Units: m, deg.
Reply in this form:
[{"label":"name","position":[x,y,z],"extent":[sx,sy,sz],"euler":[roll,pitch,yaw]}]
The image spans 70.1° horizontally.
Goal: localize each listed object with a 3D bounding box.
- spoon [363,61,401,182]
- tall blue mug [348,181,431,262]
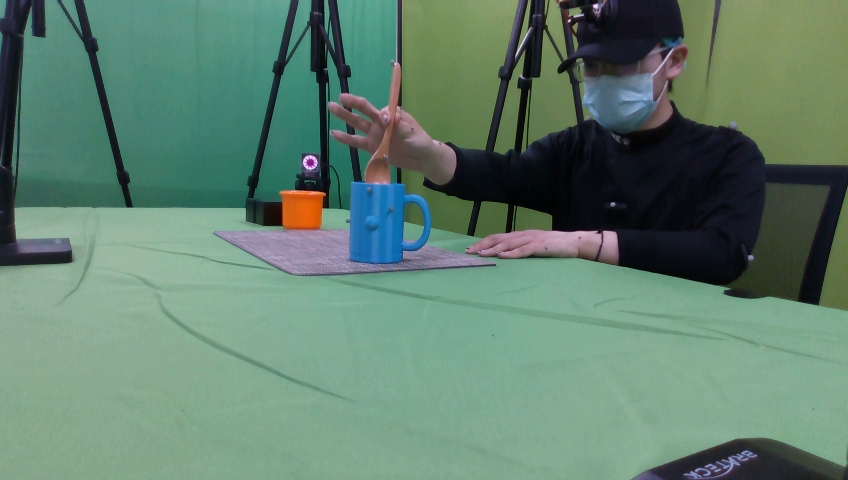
[{"label":"spoon","position":[-0.052,-0.159,0.848],"extent":[0.042,0.193,0.021],"euler":[15,-6,-31]},{"label":"tall blue mug","position":[-0.052,-0.028,0.849],"extent":[0.108,0.108,0.077],"euler":[-1,7,-22]}]
